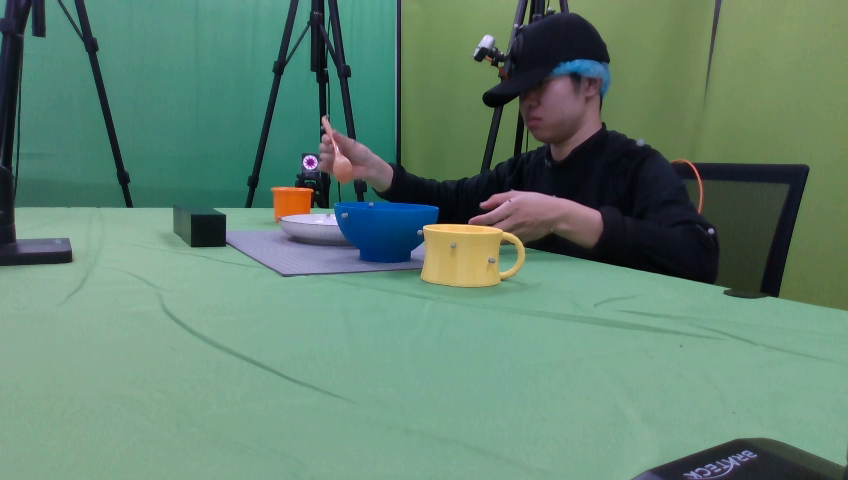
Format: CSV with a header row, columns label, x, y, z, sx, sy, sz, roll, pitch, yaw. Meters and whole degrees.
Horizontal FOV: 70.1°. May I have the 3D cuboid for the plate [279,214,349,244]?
label,x,y,z,sx,sy,sz,roll,pitch,yaw
plate,-0.147,-0.020,1.060,0.209,0.038,0.209,3,7,0

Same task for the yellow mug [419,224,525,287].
label,x,y,z,sx,sy,sz,roll,pitch,yaw
yellow mug,0.060,0.018,0.746,0.131,0.064,0.100,3,7,-7

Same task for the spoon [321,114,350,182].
label,x,y,z,sx,sy,sz,roll,pitch,yaw
spoon,-0.174,-0.181,1.158,0.022,0.041,0.193,27,29,-40

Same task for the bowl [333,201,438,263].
label,x,y,z,sx,sy,sz,roll,pitch,yaw
bowl,-0.057,-0.011,0.866,0.151,0.077,0.151,3,8,0
